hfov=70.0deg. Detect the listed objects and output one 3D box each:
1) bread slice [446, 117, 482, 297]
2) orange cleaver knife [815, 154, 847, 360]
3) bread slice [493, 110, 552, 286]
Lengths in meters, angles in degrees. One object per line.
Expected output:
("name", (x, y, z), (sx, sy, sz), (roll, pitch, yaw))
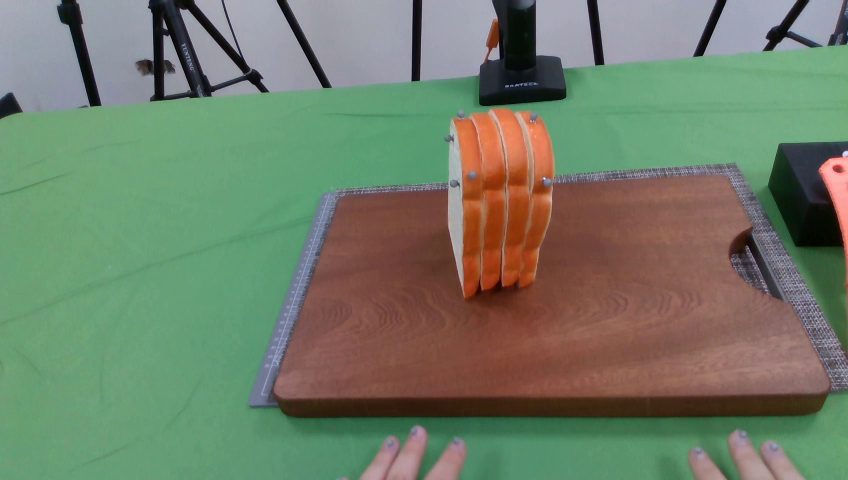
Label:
("bread slice", (0.033, -0.036, 0.520), (0.018, 0.135, 0.106), (-5, 36, -3))
("orange cleaver knife", (0.366, 0.008, 0.490), (0.077, 0.012, 0.210), (8, 61, 13))
("bread slice", (0.083, -0.041, 0.517), (0.019, 0.132, 0.104), (-2, 41, -7))
